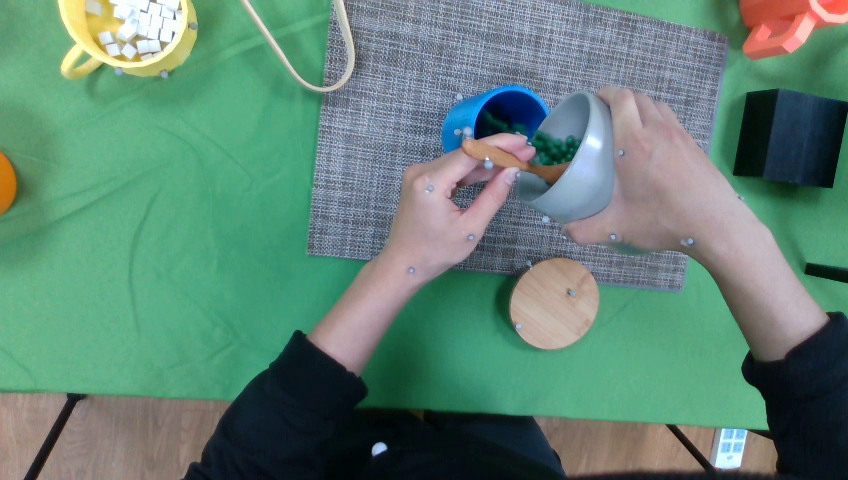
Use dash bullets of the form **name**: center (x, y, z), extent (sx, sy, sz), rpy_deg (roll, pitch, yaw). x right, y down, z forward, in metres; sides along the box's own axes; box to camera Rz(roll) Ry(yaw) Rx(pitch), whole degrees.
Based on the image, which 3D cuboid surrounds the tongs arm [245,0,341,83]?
- **tongs arm**: center (-0.192, -0.303, 0.523), extent (0.051, 0.026, 0.388), rpy_deg (-33, 112, -9)

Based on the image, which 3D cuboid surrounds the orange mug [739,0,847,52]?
- **orange mug**: center (0.407, -0.267, 0.661), extent (0.084, 0.100, 0.126), rpy_deg (30, 87, -16)

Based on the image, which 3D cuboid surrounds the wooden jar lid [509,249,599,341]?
- **wooden jar lid**: center (0.147, 0.063, 0.694), extent (0.109, 0.020, 0.109), rpy_deg (-3, 103, -11)

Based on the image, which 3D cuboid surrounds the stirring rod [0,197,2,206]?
- **stirring rod**: center (-0.428, -0.048, 0.475), extent (0.006, 0.177, 0.014), rpy_deg (4, 82, 30)

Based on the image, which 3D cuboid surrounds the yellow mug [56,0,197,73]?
- **yellow mug**: center (-0.267, -0.192, 0.529), extent (0.131, 0.063, 0.100), rpy_deg (-45, 106, -2)

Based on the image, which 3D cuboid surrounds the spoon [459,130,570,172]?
- **spoon**: center (0.094, -0.064, 0.484), extent (0.195, 0.021, 0.042), rpy_deg (6, 114, -40)

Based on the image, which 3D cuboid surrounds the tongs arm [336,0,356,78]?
- **tongs arm**: center (-0.119, -0.342, 0.537), extent (0.028, 0.027, 0.390), rpy_deg (-21, 110, -18)

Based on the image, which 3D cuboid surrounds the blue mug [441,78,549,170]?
- **blue mug**: center (0.082, -0.104, 0.604), extent (0.117, 0.105, 0.082), rpy_deg (33, 91, -16)

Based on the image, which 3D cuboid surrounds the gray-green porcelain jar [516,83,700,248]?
- **gray-green porcelain jar**: center (0.161, -0.058, 0.522), extent (0.127, 0.105, 0.106), rpy_deg (24, 93, -17)

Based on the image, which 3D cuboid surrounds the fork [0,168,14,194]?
- **fork**: center (-0.433, -0.066, 0.467), extent (0.209, 0.018, 0.028), rpy_deg (15, 96, -59)
